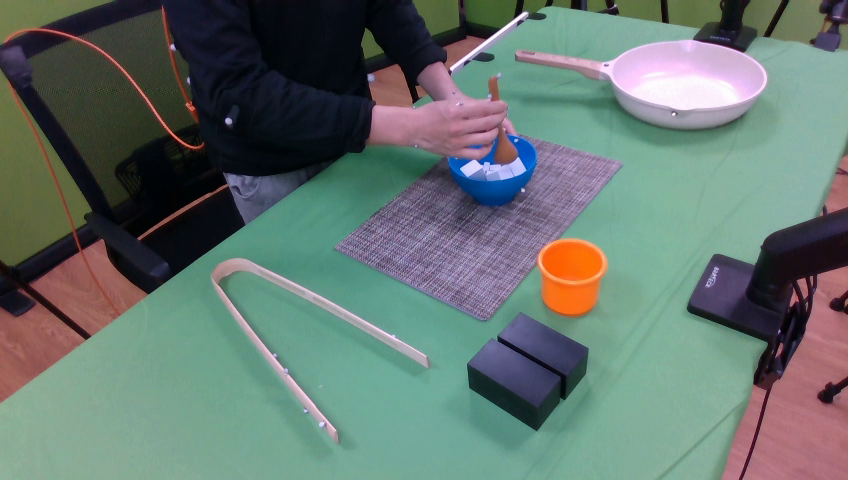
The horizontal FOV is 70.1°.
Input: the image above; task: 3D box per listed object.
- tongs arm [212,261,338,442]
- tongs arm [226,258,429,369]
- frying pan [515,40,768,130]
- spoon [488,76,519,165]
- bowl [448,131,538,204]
[{"bbox_3d":[-0.208,0.136,0.830,0.051,0.026,0.381,-31,45,-28],"label":"tongs arm"},{"bbox_3d":[-0.150,0.098,0.873,0.384,0.028,0.028,22,50,30],"label":"tongs arm"},{"bbox_3d":[0.423,-0.337,1.236,0.486,0.103,0.307,16,44,13],"label":"frying pan"},{"bbox_3d":[0.110,-0.169,0.883,0.041,0.195,0.021,-14,54,7],"label":"spoon"},{"bbox_3d":[0.118,-0.114,1.033,0.151,0.077,0.150,-4,40,4],"label":"bowl"}]
